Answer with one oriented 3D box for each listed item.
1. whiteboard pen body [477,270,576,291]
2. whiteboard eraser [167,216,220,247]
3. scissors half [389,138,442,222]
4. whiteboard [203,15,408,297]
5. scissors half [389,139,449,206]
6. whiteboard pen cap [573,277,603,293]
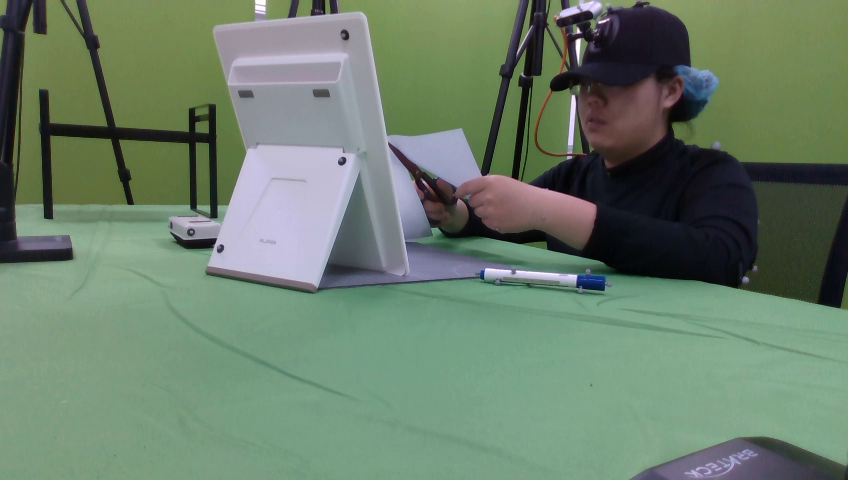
[{"bbox_3d":[0.131,0.048,0.706,0.140,0.017,0.017,4,8,17],"label":"whiteboard pen body"},{"bbox_3d":[-0.350,-0.013,0.920,0.056,0.042,0.112,0,7,-35],"label":"whiteboard eraser"},{"bbox_3d":[-0.015,-0.095,0.982,0.013,0.176,0.040,-2,43,36],"label":"scissors half"},{"bbox_3d":[-0.166,-0.072,0.668,0.216,0.305,0.144,8,30,30],"label":"whiteboard"},{"bbox_3d":[-0.007,-0.112,0.991,0.012,0.040,0.176,4,-25,39],"label":"scissors half"},{"bbox_3d":[0.186,0.051,0.687,0.033,0.018,0.018,4,8,17],"label":"whiteboard pen cap"}]
